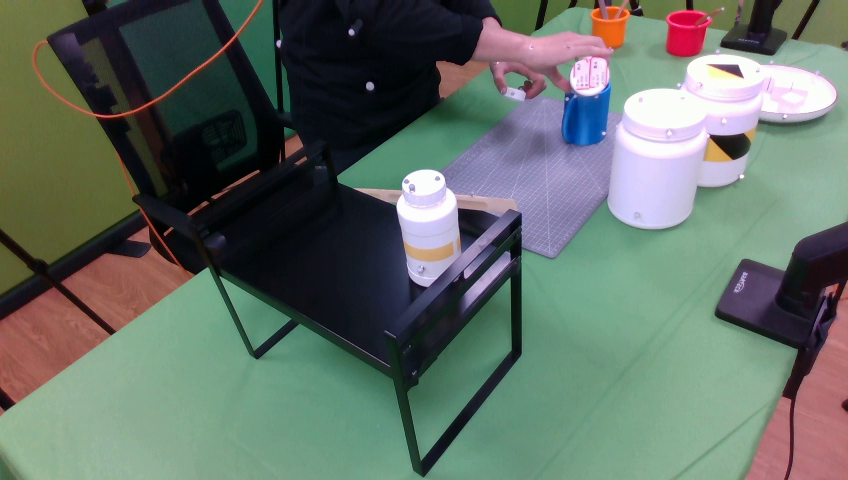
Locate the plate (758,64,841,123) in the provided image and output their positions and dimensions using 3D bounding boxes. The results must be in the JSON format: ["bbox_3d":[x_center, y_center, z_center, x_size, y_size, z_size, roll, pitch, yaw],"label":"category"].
[{"bbox_3d":[0.694,-0.283,1.189,0.207,0.039,0.206,-4,40,4],"label":"plate"}]

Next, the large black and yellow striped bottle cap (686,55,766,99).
[{"bbox_3d":[0.474,-0.258,0.952,0.115,0.019,0.114,-5,41,5],"label":"large black and yellow striped bottle cap"}]

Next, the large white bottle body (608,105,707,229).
[{"bbox_3d":[0.361,-0.124,0.941,0.130,0.185,0.130,-5,41,4],"label":"large white bottle body"}]

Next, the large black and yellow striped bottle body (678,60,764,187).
[{"bbox_3d":[0.482,-0.196,1.008,0.131,0.185,0.130,-4,41,4],"label":"large black and yellow striped bottle body"}]

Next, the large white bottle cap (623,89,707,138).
[{"bbox_3d":[0.352,-0.187,0.886,0.115,0.018,0.114,-4,41,4],"label":"large white bottle cap"}]

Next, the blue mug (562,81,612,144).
[{"bbox_3d":[0.298,-0.239,1.143,0.117,0.106,0.081,-37,48,-29],"label":"blue mug"}]

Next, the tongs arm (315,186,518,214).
[{"bbox_3d":[-0.028,-0.060,0.988,0.382,0.027,0.051,9,45,36],"label":"tongs arm"}]

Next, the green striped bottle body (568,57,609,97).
[{"bbox_3d":[0.281,-0.279,1.041,0.063,0.063,0.119,1,14,11],"label":"green striped bottle body"}]

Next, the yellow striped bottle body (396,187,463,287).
[{"bbox_3d":[0.006,-0.013,0.638,0.063,0.121,0.062,-5,41,5],"label":"yellow striped bottle body"}]

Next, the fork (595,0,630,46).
[{"bbox_3d":[0.480,-0.556,1.453,0.028,0.019,0.207,41,103,40],"label":"fork"}]

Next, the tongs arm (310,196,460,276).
[{"bbox_3d":[-0.078,-0.012,0.944,0.028,0.028,0.384,-43,39,-23],"label":"tongs arm"}]

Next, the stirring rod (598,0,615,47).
[{"bbox_3d":[0.437,-0.551,1.462,0.014,0.006,0.175,-11,83,1],"label":"stirring rod"}]

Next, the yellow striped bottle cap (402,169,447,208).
[{"bbox_3d":[0.000,-0.052,0.605,0.044,0.019,0.044,-4,43,5],"label":"yellow striped bottle cap"}]

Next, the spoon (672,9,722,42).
[{"bbox_3d":[0.606,-0.476,1.345,0.042,0.021,0.193,-6,-3,-2],"label":"spoon"}]

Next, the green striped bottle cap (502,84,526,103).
[{"bbox_3d":[0.171,-0.278,1.145,0.044,0.020,0.044,22,15,-6],"label":"green striped bottle cap"}]
